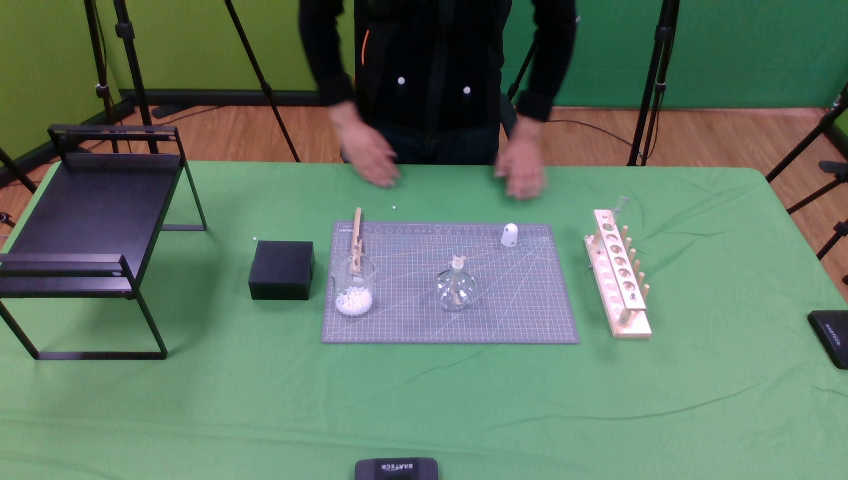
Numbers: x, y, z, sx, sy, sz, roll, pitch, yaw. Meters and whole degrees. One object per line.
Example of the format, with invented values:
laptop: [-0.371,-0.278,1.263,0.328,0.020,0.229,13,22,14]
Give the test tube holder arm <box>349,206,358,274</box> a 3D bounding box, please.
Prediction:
test tube holder arm: [-0.137,-0.004,1.189,0.013,0.015,0.177,23,38,-26]

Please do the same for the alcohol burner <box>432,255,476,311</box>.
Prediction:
alcohol burner: [0.055,0.070,1.068,0.078,0.119,0.077,3,45,-3]

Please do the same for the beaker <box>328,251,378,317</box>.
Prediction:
beaker: [-0.123,0.079,1.055,0.084,0.101,0.073,0,47,-5]

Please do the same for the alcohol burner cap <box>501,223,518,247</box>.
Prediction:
alcohol burner cap: [0.172,-0.013,1.206,0.034,0.048,0.033,1,46,-1]

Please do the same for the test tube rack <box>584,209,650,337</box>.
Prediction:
test tube rack: [0.365,0.056,1.129,0.067,0.085,0.240,1,46,-4]

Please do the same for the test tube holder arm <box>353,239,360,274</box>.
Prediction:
test tube holder arm: [-0.130,0.030,1.159,0.010,0.015,0.087,24,38,-25]

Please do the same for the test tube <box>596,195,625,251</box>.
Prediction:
test tube: [0.349,-0.028,1.141,0.017,0.151,0.017,1,51,-2]
